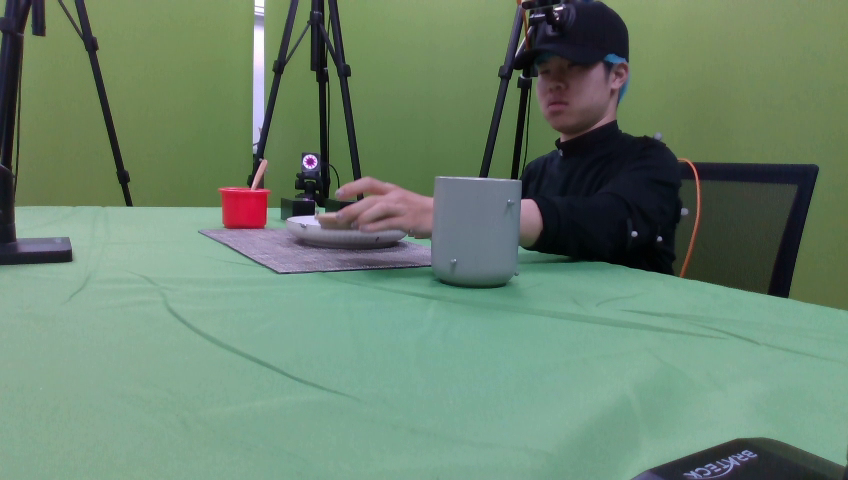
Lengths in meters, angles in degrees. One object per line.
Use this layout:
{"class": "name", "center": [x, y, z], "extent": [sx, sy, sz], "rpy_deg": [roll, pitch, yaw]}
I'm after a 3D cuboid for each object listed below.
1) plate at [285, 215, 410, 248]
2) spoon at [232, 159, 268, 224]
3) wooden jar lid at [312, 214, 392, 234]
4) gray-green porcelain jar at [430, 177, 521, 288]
{"class": "plate", "center": [-0.127, -0.015, 1.012], "extent": [0.208, 0.039, 0.207], "rpy_deg": [3, 7, 0]}
{"class": "spoon", "center": [-0.342, -0.101, 1.218], "extent": [0.041, 0.021, 0.193], "rpy_deg": [4, 51, 4]}
{"class": "wooden jar lid", "center": [-0.097, -0.022, 0.822], "extent": [0.108, 0.020, 0.108], "rpy_deg": [-2, 6, 1]}
{"class": "gray-green porcelain jar", "center": [0.060, -0.011, 0.725], "extent": [0.106, 0.126, 0.106], "rpy_deg": [2, 7, 0]}
